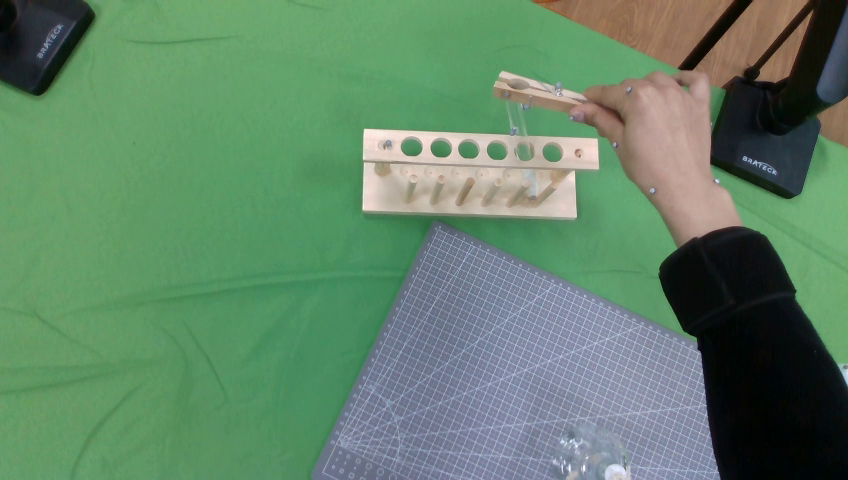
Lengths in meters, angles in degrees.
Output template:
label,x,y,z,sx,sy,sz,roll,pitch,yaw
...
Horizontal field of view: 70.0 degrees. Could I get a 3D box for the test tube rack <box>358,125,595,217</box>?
label,x,y,z,sx,sy,sz,roll,pitch,yaw
test tube rack,0.052,-0.071,0.651,0.243,0.085,0.066,2,78,-6

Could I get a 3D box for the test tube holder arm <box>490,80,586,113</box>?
label,x,y,z,sx,sy,sz,roll,pitch,yaw
test tube holder arm,0.103,-0.129,0.545,0.087,0.015,0.010,14,70,14

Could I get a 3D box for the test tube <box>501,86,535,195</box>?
label,x,y,z,sx,sy,sz,roll,pitch,yaw
test tube,0.097,-0.096,0.617,0.017,0.152,0.017,-9,53,12

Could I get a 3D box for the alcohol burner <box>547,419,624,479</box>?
label,x,y,z,sx,sy,sz,roll,pitch,yaw
alcohol burner,0.162,0.216,0.587,0.078,0.119,0.077,1,79,-6

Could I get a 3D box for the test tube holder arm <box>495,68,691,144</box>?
label,x,y,z,sx,sy,sz,roll,pitch,yaw
test tube holder arm,0.146,-0.120,0.535,0.177,0.015,0.013,22,73,16

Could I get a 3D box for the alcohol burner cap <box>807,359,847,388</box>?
label,x,y,z,sx,sy,sz,roll,pitch,yaw
alcohol burner cap,0.456,0.148,0.672,0.034,0.048,0.033,1,77,-5
